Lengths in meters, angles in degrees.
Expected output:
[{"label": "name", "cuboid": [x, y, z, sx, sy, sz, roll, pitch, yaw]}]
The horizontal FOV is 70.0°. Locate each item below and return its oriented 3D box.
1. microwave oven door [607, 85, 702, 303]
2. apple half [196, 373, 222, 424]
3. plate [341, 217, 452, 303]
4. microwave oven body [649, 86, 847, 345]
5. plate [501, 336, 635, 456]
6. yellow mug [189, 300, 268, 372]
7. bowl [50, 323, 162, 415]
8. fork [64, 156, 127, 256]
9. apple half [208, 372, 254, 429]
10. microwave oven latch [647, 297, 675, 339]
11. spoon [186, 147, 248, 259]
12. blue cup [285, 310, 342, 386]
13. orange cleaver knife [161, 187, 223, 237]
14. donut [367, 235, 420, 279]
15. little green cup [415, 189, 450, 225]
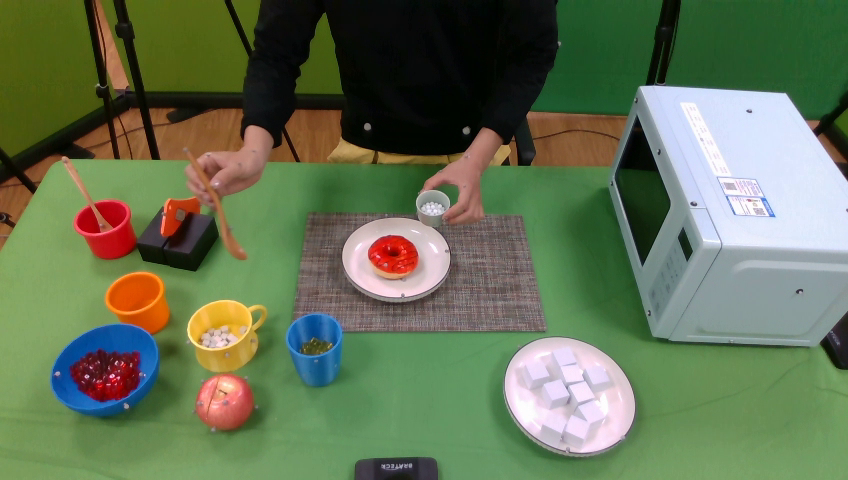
[{"label": "microwave oven door", "cuboid": [0.423, -0.094, 1.141, 0.039, 0.245, 0.353, 2, 46, -1]}, {"label": "apple half", "cuboid": [-0.322, 0.239, 0.906, 0.033, 0.081, 0.081, 7, 46, 0]}, {"label": "plate", "cuboid": [-0.052, 0.039, 1.140, 0.209, 0.038, 0.208, 2, 46, -2]}, {"label": "microwave oven body", "cuboid": [0.568, -0.053, 1.118, 0.326, 0.261, 0.439, 2, 45, -1]}, {"label": "plate", "cuboid": [0.225, 0.248, 0.963, 0.208, 0.039, 0.206, 2, 46, -2]}, {"label": "yellow mug", "cuboid": [-0.315, 0.148, 1.001, 0.131, 0.064, 0.099, -33, 55, -31]}, {"label": "bowl", "cuboid": [-0.472, 0.209, 0.924, 0.151, 0.077, 0.150, 3, 45, -2]}, {"label": "fork", "cuboid": [-0.614, -0.064, 1.129, 0.028, 0.018, 0.207, -30, 97, -16]}, {"label": "apple half", "cuboid": [-0.283, 0.244, 0.908, 0.053, 0.075, 0.080, 7, 42, -1]}, {"label": "microwave oven latch", "cuboid": [0.413, 0.134, 1.061, 0.030, 0.029, 0.078, 5, 45, 2]}, {"label": "spoon", "cuboid": [-0.321, -0.055, 0.942, 0.021, 0.194, 0.041, -16, 18, 4]}, {"label": "blue cup", "cuboid": [-0.170, 0.179, 0.958, 0.093, 0.101, 0.092, 2, 44, -2]}, {"label": "orange cleaver knife", "cuboid": [-0.448, -0.058, 1.180, 0.012, 0.077, 0.211, 13, 17, 6]}, {"label": "donut", "cuboid": [-0.057, 0.032, 1.131, 0.099, 0.048, 0.098, 3, 45, -3]}, {"label": "little green cup", "cuboid": [0.016, -0.057, 1.088, 0.061, 0.039, 0.061, -2, 67, 4]}]
